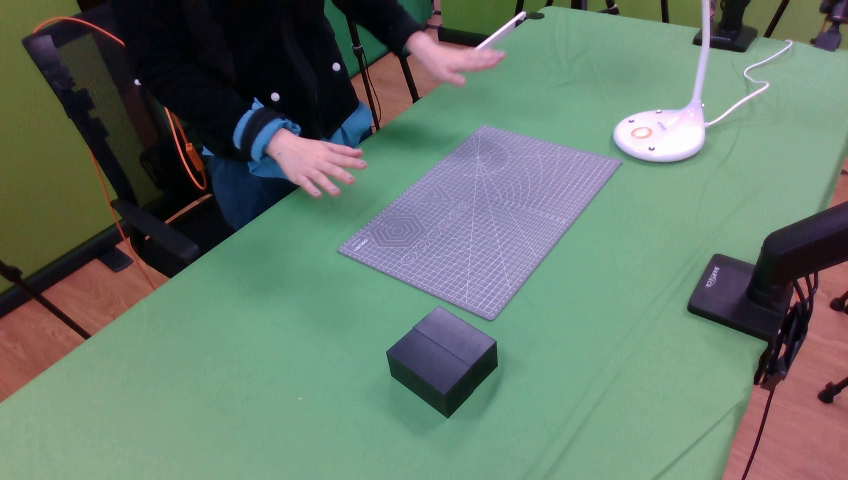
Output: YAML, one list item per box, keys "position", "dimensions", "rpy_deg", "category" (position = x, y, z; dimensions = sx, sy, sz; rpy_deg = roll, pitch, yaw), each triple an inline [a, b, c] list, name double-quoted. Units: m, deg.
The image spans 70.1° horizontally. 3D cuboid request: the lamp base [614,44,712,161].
- position: [0.441, -0.257, 1.081]
  dimensions: [0.180, 0.181, 0.159]
  rpy_deg: [-15, 41, -12]
  category: "lamp base"
